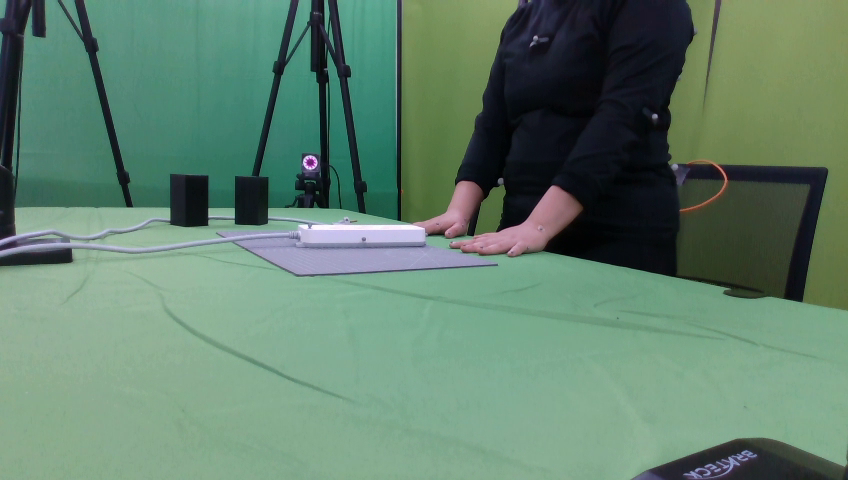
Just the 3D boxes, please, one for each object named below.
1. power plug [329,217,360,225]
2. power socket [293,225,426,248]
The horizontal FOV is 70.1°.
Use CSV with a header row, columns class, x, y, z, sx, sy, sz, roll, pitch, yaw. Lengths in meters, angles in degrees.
class,x,y,z,sx,sy,sz,roll,pitch,yaw
power plug,-0.150,-0.031,1.126,0.053,0.035,0.072,-8,21,-16
power socket,-0.104,-0.008,1.003,0.228,0.032,0.072,-1,7,-23
